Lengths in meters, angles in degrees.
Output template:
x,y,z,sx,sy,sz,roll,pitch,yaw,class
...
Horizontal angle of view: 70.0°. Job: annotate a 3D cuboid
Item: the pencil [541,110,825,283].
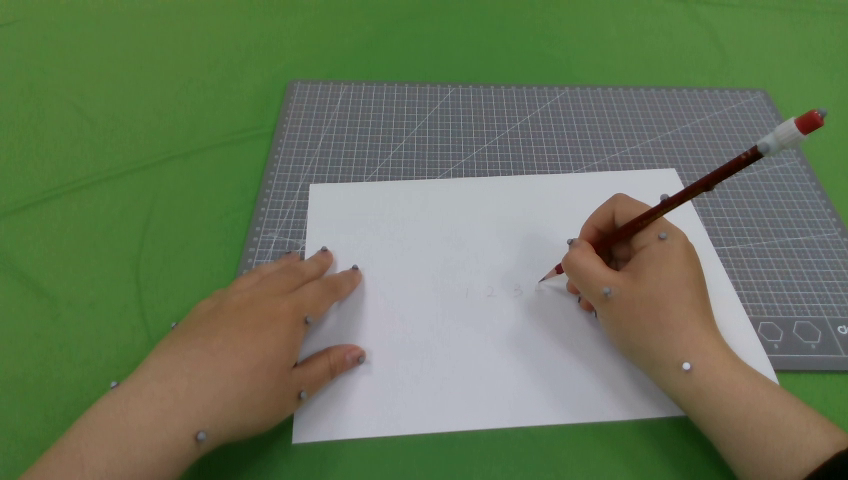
x,y,z,sx,sy,sz,roll,pitch,yaw,class
0.131,-0.014,0.348,0.012,0.194,0.012,18,55,-26,pencil
